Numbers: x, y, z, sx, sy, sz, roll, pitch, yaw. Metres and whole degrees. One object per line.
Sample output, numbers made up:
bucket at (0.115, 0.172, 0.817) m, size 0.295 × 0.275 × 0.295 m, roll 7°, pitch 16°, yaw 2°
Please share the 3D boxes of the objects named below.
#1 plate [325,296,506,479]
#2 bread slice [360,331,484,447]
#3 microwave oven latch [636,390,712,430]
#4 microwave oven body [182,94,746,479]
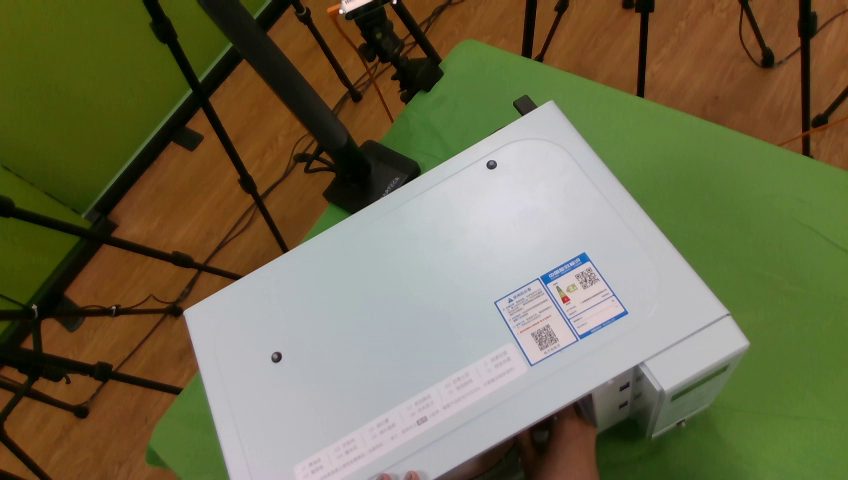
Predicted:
plate at (-0.008, 0.169, 0.691) m, size 0.207 × 0.039 × 0.206 m, roll -4°, pitch 69°, yaw 10°
bread slice at (-0.009, 0.165, 0.703) m, size 0.131 × 0.019 × 0.104 m, roll 21°, pitch 70°, yaw 8°
microwave oven latch at (0.272, 0.176, 0.662) m, size 0.079 × 0.030 × 0.030 m, roll -29°, pitch 60°, yaw 3°
microwave oven body at (0.030, 0.113, 0.655) m, size 0.442 × 0.263 × 0.322 m, roll -30°, pitch 60°, yaw 2°
